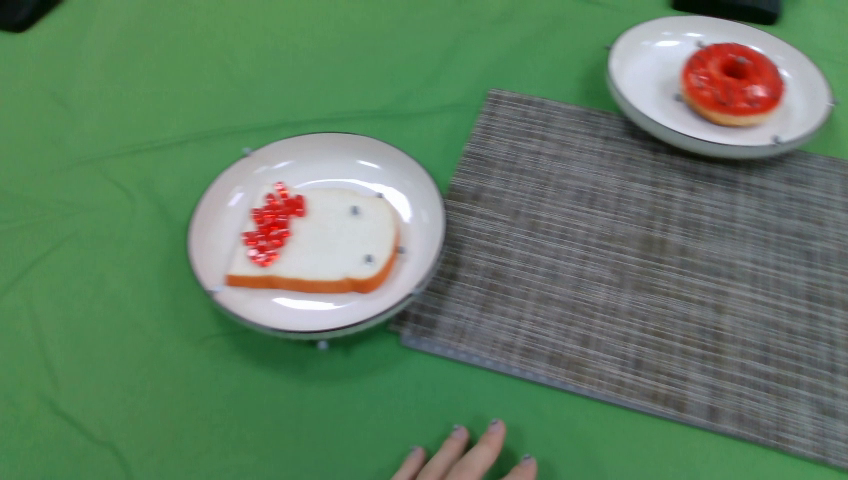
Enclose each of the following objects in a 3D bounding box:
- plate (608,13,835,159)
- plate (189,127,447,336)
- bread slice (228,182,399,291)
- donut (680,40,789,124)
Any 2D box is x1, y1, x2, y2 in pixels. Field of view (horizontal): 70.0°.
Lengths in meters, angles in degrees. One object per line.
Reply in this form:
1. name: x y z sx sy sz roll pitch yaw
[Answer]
1. plate: 0.284 -0.149 0.596 0.208 0.039 0.205 0 52 0
2. plate: -0.084 -0.010 0.504 0.209 0.038 0.207 -1 54 1
3. bread slice: -0.086 -0.006 0.504 0.131 0.019 0.104 4 54 5
4. donut: 0.297 -0.152 0.583 0.099 0.048 0.098 0 55 0
